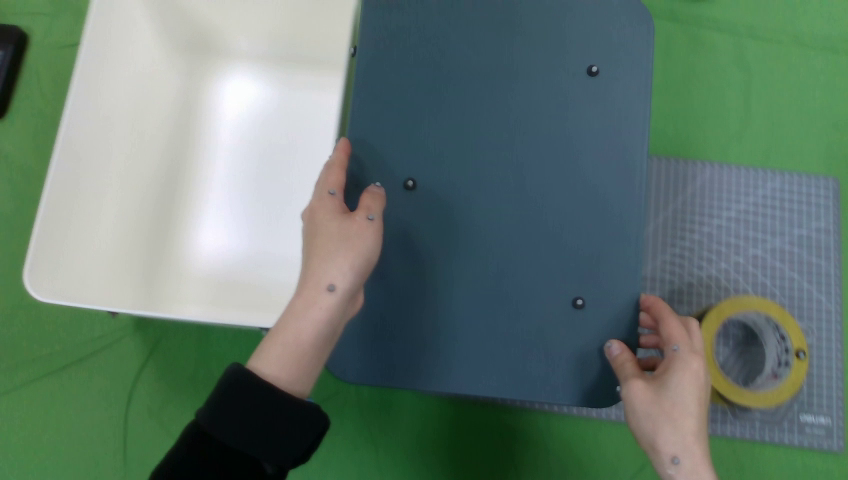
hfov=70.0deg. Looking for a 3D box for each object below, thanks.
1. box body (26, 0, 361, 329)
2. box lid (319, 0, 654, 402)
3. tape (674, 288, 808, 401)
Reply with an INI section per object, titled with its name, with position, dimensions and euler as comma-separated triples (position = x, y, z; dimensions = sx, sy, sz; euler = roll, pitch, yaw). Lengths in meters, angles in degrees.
[box body]
position = -0.200, -0.096, 0.627
dimensions = 0.254, 0.161, 0.362
euler = 6, 77, 2
[box lid]
position = 0.061, -0.060, 0.516
dimensions = 0.264, 0.015, 0.370
euler = 6, 82, -5
[tape]
position = 0.326, 0.108, 0.626
dimensions = 0.117, 0.053, 0.116
euler = 0, 77, 2
